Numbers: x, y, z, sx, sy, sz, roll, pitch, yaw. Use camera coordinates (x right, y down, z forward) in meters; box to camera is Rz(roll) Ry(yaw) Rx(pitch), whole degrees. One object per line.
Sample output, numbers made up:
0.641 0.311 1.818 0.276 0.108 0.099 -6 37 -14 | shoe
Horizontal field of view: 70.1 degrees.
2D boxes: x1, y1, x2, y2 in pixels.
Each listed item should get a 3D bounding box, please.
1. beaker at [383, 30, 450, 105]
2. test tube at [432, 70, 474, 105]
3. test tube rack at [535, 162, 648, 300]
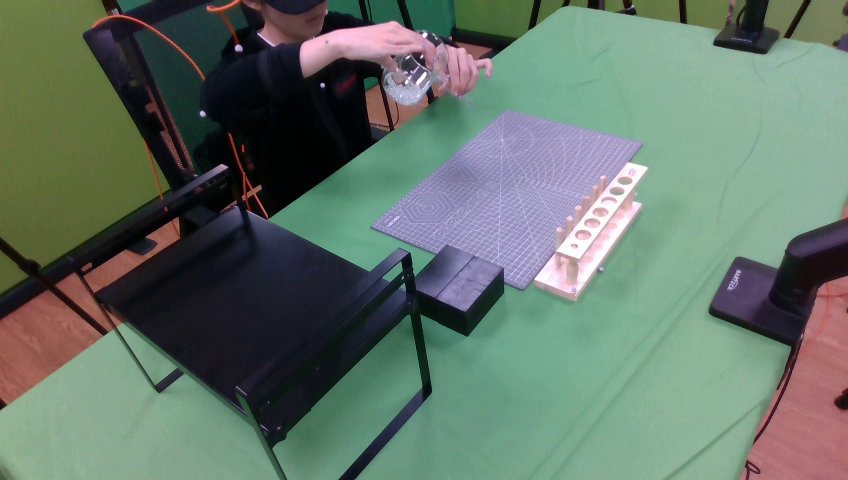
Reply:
-0.012 -0.264 0.944 0.073 0.084 0.100 12 53 30 | beaker
0.054 -0.265 1.060 0.017 0.017 0.151 20 3 29 | test tube
0.257 -0.024 0.916 0.066 0.085 0.243 22 49 30 | test tube rack
